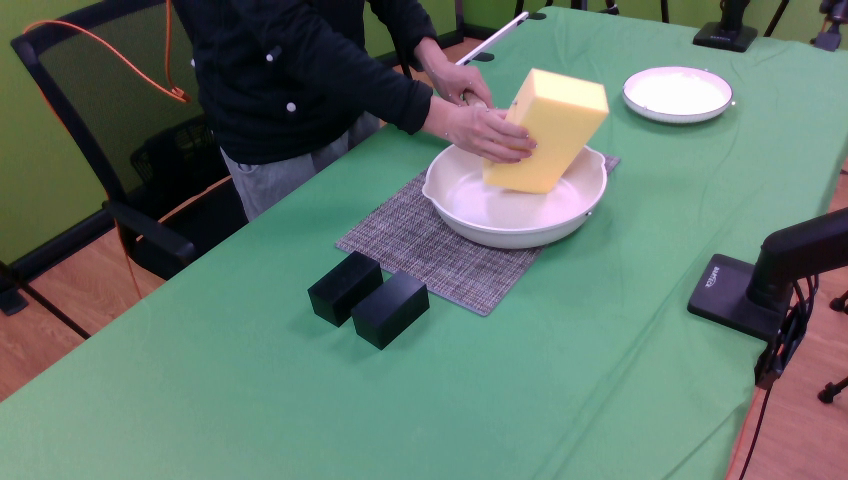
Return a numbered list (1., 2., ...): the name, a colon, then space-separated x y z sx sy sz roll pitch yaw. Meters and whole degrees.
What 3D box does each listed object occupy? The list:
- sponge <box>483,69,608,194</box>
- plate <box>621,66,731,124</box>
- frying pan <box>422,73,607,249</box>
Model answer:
1. sponge: 0.184 -0.163 0.961 0.119 0.206 0.060 10 55 -14
2. plate: 0.503 -0.288 1.221 0.207 0.039 0.206 -4 41 4
3. frying pan: 0.130 -0.161 1.069 0.307 0.103 0.484 -10 49 -5
